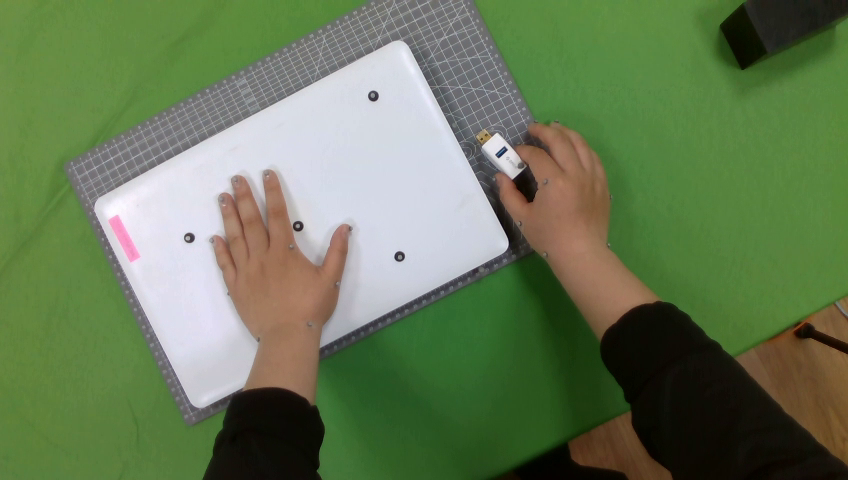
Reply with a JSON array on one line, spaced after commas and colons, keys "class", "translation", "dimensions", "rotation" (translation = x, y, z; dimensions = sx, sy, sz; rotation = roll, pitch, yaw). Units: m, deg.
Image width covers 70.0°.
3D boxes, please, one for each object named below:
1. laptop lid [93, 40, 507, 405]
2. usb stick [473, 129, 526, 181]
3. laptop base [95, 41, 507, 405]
[{"class": "laptop lid", "translation": [-0.124, -0.014, 0.595], "dimensions": [0.357, 0.013, 0.241], "rotation": [-26, 90, 2]}, {"class": "usb stick", "translation": [0.072, -0.086, 0.590], "dimensions": [0.021, 0.027, 0.059], "rotation": [-44, 81, 2]}, {"class": "laptop base", "translation": [-0.124, -0.016, 0.605], "dimensions": [0.354, 0.023, 0.235], "rotation": [-28, 91, 2]}]
